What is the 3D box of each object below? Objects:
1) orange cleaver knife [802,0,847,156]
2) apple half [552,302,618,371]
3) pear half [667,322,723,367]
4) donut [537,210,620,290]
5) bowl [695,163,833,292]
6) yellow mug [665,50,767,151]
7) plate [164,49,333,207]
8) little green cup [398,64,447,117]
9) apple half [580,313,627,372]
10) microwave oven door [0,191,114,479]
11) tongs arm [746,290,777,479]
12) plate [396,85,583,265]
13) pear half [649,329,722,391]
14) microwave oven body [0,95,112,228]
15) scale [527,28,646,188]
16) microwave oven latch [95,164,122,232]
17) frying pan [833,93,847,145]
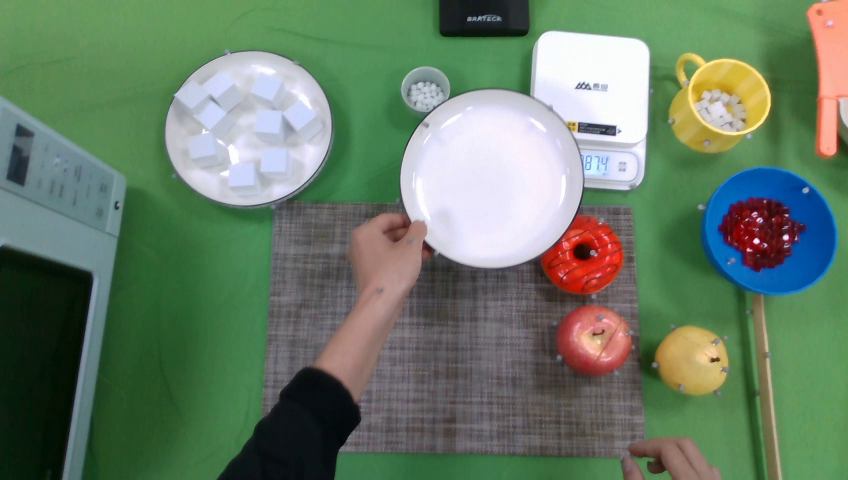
[{"bbox_3d":[0.496,-0.202,0.727,0.077,0.012,0.210,5,80,4],"label":"orange cleaver knife"},{"bbox_3d":[0.177,0.104,0.698,0.053,0.075,0.080,33,84,10],"label":"apple half"},{"bbox_3d":[0.314,0.114,0.691,0.070,0.088,0.031,31,81,9],"label":"pear half"},{"bbox_3d":[0.184,0.012,0.730,0.099,0.048,0.098,0,79,2],"label":"donut"},{"bbox_3d":[0.387,-0.009,0.721,0.151,0.077,0.151,0,80,0],"label":"bowl"},{"bbox_3d":[0.355,-0.183,0.761,0.100,0.064,0.130,-31,80,-5],"label":"yellow mug"},{"bbox_3d":[-0.217,-0.139,0.766,0.208,0.039,0.206,0,79,0],"label":"plate"},{"bbox_3d":[-0.002,-0.189,0.776,0.061,0.039,0.061,0,78,0],"label":"little green cup"},{"bbox_3d":[0.210,0.124,0.693,0.032,0.081,0.081,33,80,9],"label":"apple half"},{"bbox_3d":[-0.403,0.143,0.589,0.039,0.244,0.354,3,79,1],"label":"microwave oven door"},{"bbox_3d":[0.411,0.249,0.694,0.051,0.026,0.383,1,80,-5],"label":"tongs arm"},{"bbox_3d":[0.074,-0.072,0.691,0.209,0.038,0.208,0,82,1],"label":"plate"},{"bbox_3d":[0.293,0.140,0.676,0.076,0.110,0.056,32,80,10],"label":"pear half"},{"bbox_3d":[-0.546,0.094,0.604,0.326,0.261,0.440,3,80,0],"label":"microwave oven body"},{"bbox_3d":[0.206,-0.170,0.776,0.148,0.031,0.200,5,80,2],"label":"scale"},{"bbox_3d":[-0.386,-0.051,0.730,0.030,0.029,0.079,5,80,1],"label":"microwave oven latch"},{"bbox_3d":[0.677,-0.117,0.729,0.307,0.103,0.484,-26,72,-4],"label":"frying pan"}]
